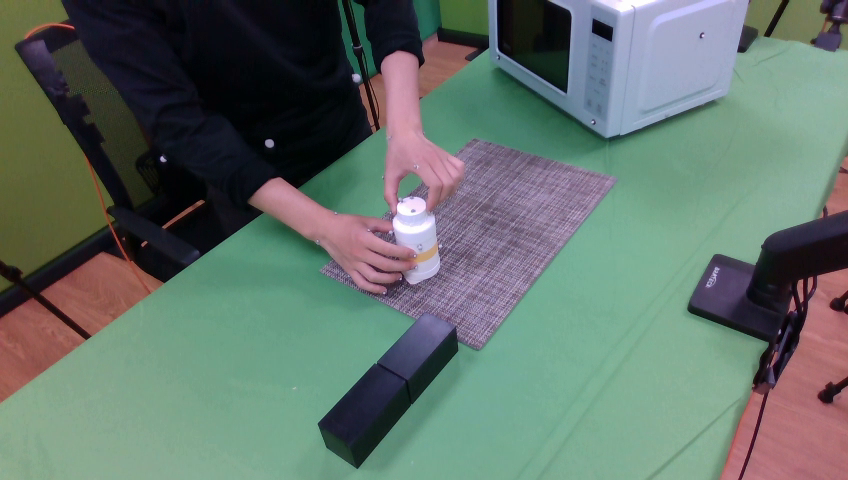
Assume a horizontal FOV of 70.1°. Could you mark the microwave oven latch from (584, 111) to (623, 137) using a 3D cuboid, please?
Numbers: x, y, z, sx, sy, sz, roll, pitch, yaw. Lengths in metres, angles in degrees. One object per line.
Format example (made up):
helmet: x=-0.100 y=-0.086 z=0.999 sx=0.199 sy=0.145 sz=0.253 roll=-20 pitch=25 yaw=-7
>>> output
microwave oven latch: x=0.337 y=-0.222 z=1.142 sx=0.030 sy=0.029 sz=0.078 roll=-21 pitch=42 yaw=-14

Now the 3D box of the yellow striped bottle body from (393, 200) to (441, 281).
yellow striped bottle body: x=-0.011 y=-0.003 z=0.892 sx=0.063 sy=0.121 sz=0.062 roll=-4 pitch=41 yaw=4

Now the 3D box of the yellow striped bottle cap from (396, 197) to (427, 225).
yellow striped bottle cap: x=-0.018 y=-0.041 z=0.858 sx=0.044 sy=0.019 sz=0.044 roll=0 pitch=40 yaw=1

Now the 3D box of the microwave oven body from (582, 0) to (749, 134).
microwave oven body: x=0.382 y=-0.444 z=1.246 sx=0.327 sy=0.261 sz=0.437 roll=-22 pitch=42 yaw=-16

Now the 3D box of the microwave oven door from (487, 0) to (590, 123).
microwave oven door: x=0.232 y=-0.420 z=1.230 sx=0.039 sy=0.245 sz=0.352 roll=-22 pitch=43 yaw=-16
